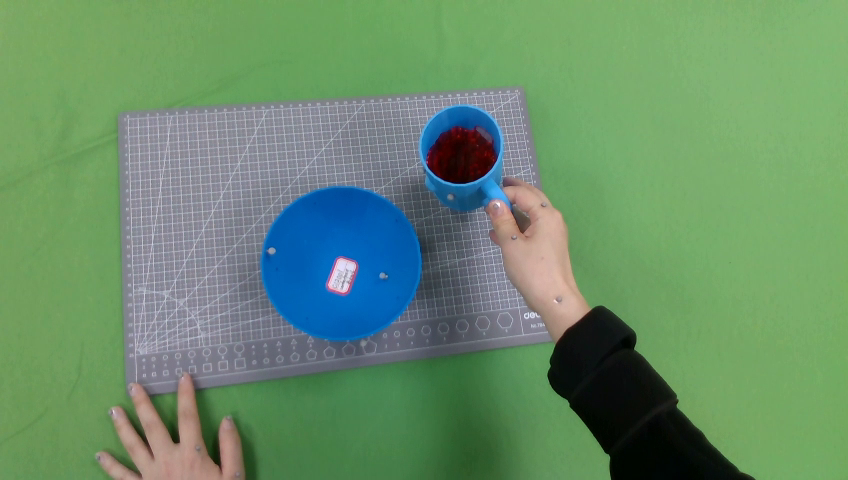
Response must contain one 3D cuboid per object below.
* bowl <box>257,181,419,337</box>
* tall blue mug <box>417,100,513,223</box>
[{"bbox_3d":[-0.083,0.025,0.601,0.152,0.077,0.150,2,77,-7],"label":"bowl"},{"bbox_3d":[0.050,-0.073,0.586,0.107,0.108,0.077,25,84,8],"label":"tall blue mug"}]
